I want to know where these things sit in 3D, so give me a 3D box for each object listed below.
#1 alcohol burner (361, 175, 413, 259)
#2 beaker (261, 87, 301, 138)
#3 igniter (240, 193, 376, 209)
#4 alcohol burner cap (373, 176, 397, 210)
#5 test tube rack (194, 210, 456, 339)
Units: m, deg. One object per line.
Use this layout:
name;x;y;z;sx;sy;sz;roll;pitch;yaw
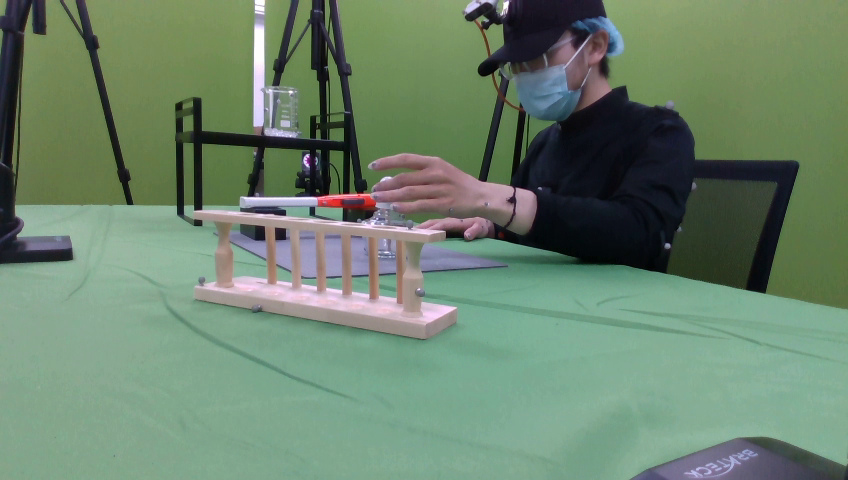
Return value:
alcohol burner;-0.054;-0.033;0.870;0.078;0.119;0.078;1;9;0
beaker;-0.298;-0.263;1.255;0.084;0.100;0.073;-5;10;-40
igniter;-0.188;-0.070;1.078;0.278;0.025;0.057;-5;11;-35
alcohol burner cap;-0.054;-0.068;0.866;0.034;0.048;0.034;7;8;-1
test tube rack;-0.093;0.023;0.545;0.241;0.085;0.067;6;8;25
